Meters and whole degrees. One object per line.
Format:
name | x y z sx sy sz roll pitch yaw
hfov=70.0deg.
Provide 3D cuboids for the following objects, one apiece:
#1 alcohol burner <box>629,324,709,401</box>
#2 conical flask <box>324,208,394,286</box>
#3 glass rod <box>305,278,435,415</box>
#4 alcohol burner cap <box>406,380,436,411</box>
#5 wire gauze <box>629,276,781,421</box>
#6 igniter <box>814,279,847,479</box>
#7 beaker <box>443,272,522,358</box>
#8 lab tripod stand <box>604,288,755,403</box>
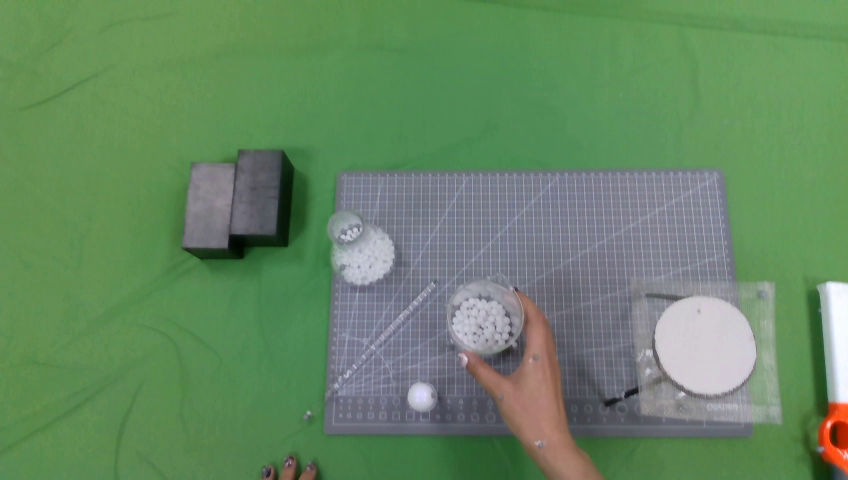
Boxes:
alcohol burner | 0.246 0.119 0.598 0.078 0.120 0.077 -1 76 4
conical flask | -0.074 0.001 0.632 0.075 0.122 0.075 0 75 2
glass rod | -0.057 0.114 0.661 0.008 0.008 0.199 42 81 11
alcohol burner cap | -0.004 0.162 0.631 0.034 0.048 0.033 0 76 2
wire gauze | 0.243 0.092 0.525 0.125 0.011 0.121 2 77 3
igniter | 0.431 0.177 0.625 0.057 0.025 0.275 7 76 -8
beaker | 0.059 0.080 0.621 0.074 0.101 0.083 23 77 8
lab tripod stand | 0.245 0.110 0.590 0.148 0.132 0.147 0 77 2
